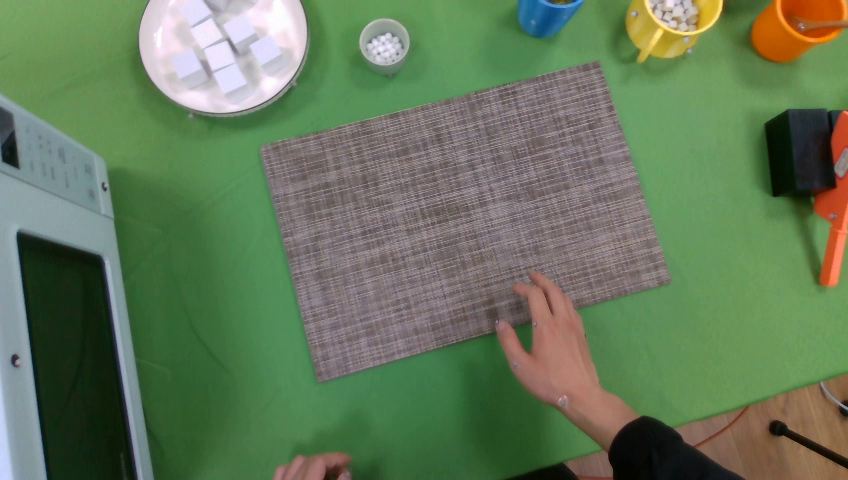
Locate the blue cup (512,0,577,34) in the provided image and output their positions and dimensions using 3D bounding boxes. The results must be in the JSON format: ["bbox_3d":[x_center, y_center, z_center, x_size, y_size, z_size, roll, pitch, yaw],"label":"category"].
[{"bbox_3d":[0.149,-0.306,0.751,0.093,0.100,0.092,0,83,-3],"label":"blue cup"}]

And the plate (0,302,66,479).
[{"bbox_3d":[-0.476,0.163,0.629,0.209,0.038,0.208,0,82,-2],"label":"plate"}]

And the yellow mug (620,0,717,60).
[{"bbox_3d":[0.302,-0.286,0.771,0.100,0.064,0.130,32,83,3],"label":"yellow mug"}]

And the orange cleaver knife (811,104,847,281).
[{"bbox_3d":[0.498,-0.055,0.738,0.012,0.076,0.212,-1,111,0],"label":"orange cleaver knife"}]

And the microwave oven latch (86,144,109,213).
[{"bbox_3d":[-0.392,-0.070,0.710,0.030,0.029,0.079,-11,83,-4],"label":"microwave oven latch"}]

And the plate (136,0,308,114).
[{"bbox_3d":[-0.248,-0.254,0.760,0.208,0.039,0.207,0,82,-2],"label":"plate"}]

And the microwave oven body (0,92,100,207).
[{"bbox_3d":[-0.495,0.118,0.582,0.326,0.260,0.440,-12,83,-4],"label":"microwave oven body"}]

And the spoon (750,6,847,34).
[{"bbox_3d":[0.497,-0.267,0.735,0.022,0.192,0.041,38,80,-41],"label":"spoon"}]

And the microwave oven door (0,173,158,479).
[{"bbox_3d":[-0.342,0.127,0.581,0.039,0.244,0.354,-13,82,-4],"label":"microwave oven door"}]

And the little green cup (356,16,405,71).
[{"bbox_3d":[-0.054,-0.246,0.766,0.061,0.039,0.061,0,81,-1],"label":"little green cup"}]
